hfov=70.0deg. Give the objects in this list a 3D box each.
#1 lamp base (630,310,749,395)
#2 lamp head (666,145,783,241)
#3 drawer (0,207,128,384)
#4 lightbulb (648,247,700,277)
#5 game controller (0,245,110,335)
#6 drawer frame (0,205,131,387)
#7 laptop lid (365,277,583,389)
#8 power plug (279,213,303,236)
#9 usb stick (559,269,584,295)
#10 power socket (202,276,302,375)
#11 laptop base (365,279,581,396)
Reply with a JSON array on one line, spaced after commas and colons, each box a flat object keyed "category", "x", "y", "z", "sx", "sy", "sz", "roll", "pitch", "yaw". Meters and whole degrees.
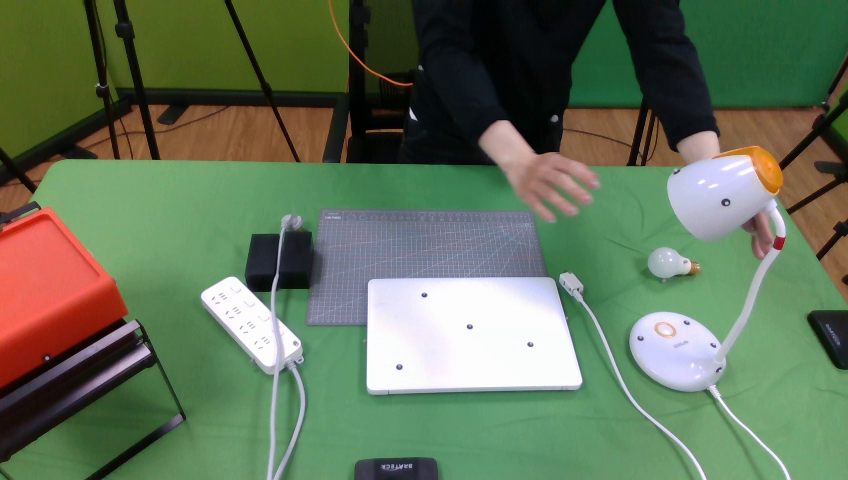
[{"category": "lamp base", "x": 0.447, "y": 0.142, "z": 0.984, "sx": 0.161, "sy": 0.181, "sz": 0.178, "roll": -24, "pitch": 55, "yaw": -24}, {"category": "lamp head", "x": 0.408, "y": -0.067, "z": 0.806, "sx": 0.113, "sy": 0.123, "sz": 0.112, "roll": 15, "pitch": 63, "yaw": -32}, {"category": "drawer", "x": -0.540, "y": 0.074, "z": 0.798, "sx": 0.193, "sy": 0.073, "sz": 0.211, "roll": 37, "pitch": 55, "yaw": 27}, {"category": "lightbulb", "x": 0.485, "y": 0.046, "z": 1.169, "sx": 0.108, "sy": 0.060, "sz": 0.059, "roll": 10, "pitch": 45, "yaw": -15}, {"category": "game controller", "x": -0.510, "y": 0.061, "z": 0.830, "sx": 0.097, "sy": 0.052, "sz": 0.154, "roll": -30, "pitch": 58, "yaw": -30}, {"category": "drawer frame", "x": -0.539, "y": 0.075, "z": 0.795, "sx": 0.200, "sy": 0.083, "sz": 0.213, "roll": 36, "pitch": 55, "yaw": 26}, {"category": "laptop lid", "x": 0.077, "y": 0.152, "z": 1.046, "sx": 0.357, "sy": 0.013, "sz": 0.240, "roll": 1, "pitch": 45, "yaw": -3}, {"category": "power plug", "x": -0.264, "y": -0.022, "z": 1.184, "sx": 0.035, "sy": 0.053, "sz": 0.072, "roll": 0, "pitch": 48, "yaw": 32}, {"category": "usb stick", "x": 0.274, "y": 0.077, "z": 1.142, "sx": 0.027, "sy": 0.021, "sz": 0.059, "roll": -11, "pitch": 39, "yaw": -14}, {"category": "power socket", "x": -0.296, "y": 0.142, "z": 1.034, "sx": 0.072, "sy": 0.033, "sz": 0.225, "roll": -34, "pitch": 58, "yaw": -30}, {"category": "laptop base", "x": 0.077, "y": 0.162, "z": 1.053, "sx": 0.355, "sy": 0.023, "sz": 0.234, "roll": 0, "pitch": 44, "yaw": -5}]
